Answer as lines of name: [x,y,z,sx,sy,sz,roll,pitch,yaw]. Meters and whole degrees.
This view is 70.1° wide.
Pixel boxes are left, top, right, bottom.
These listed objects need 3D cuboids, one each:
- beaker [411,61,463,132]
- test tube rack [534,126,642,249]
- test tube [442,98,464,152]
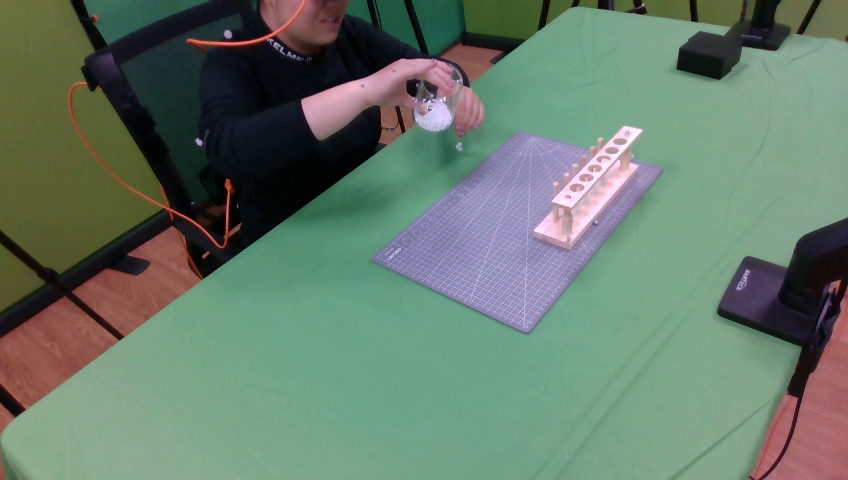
beaker: [0.021,-0.231,0.993,0.074,0.084,0.100,0,49,16]
test tube rack: [0.271,-0.095,0.990,0.066,0.085,0.243,23,49,33]
test tube: [0.054,-0.208,1.115,0.017,0.151,0.017,-6,63,11]
